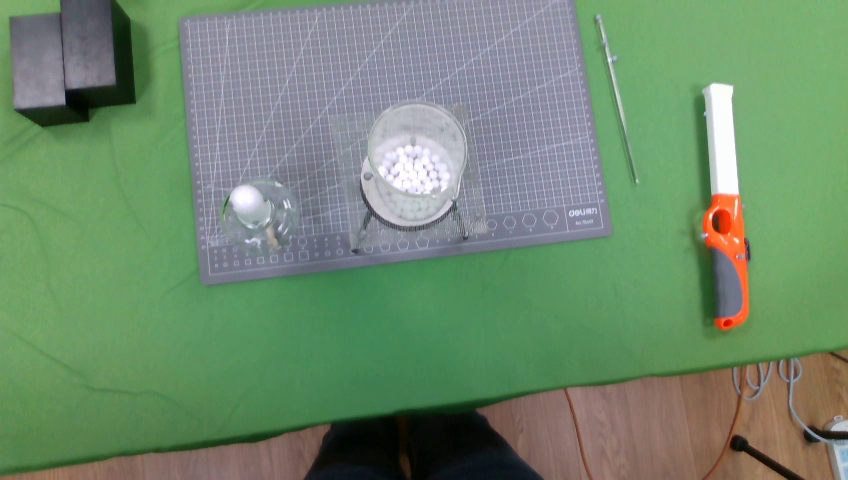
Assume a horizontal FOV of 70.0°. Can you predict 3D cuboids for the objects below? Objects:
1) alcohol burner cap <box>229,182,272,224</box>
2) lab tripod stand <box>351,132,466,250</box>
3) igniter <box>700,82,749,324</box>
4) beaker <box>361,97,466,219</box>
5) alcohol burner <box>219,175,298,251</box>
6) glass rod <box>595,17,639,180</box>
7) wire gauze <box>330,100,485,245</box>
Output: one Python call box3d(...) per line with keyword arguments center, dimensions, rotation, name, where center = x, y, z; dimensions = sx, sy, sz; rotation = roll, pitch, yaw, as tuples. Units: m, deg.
box3d(center=(-0.163, -0.036, 0.561), dimensions=(0.034, 0.048, 0.033), rotation=(0, 77, -2), name="alcohol burner cap")
box3d(center=(-0.019, -0.047, 0.600), dimensions=(0.148, 0.132, 0.148), rotation=(0, 81, -2), name="lab tripod stand")
box3d(center=(0.336, -0.044, 0.684), dimensions=(0.057, 0.025, 0.275), rotation=(3, 82, -15), name="igniter")
box3d(center=(-0.007, -0.058, 0.487), dimensions=(0.074, 0.100, 0.084), rotation=(-39, 85, -9), name="beaker")
box3d(center=(-0.166, -0.031, 0.596), dimensions=(0.078, 0.119, 0.077), rotation=(1, 79, -4), name="alcohol burner")
box3d(center=(0.223, -0.165, 0.701), dimensions=(0.008, 0.008, 0.199), rotation=(-11, 83, -6), name="glass rod")
box3d(center=(-0.015, -0.061, 0.536), dimensions=(0.125, 0.011, 0.121), rotation=(-8, 81, -3), name="wire gauze")
